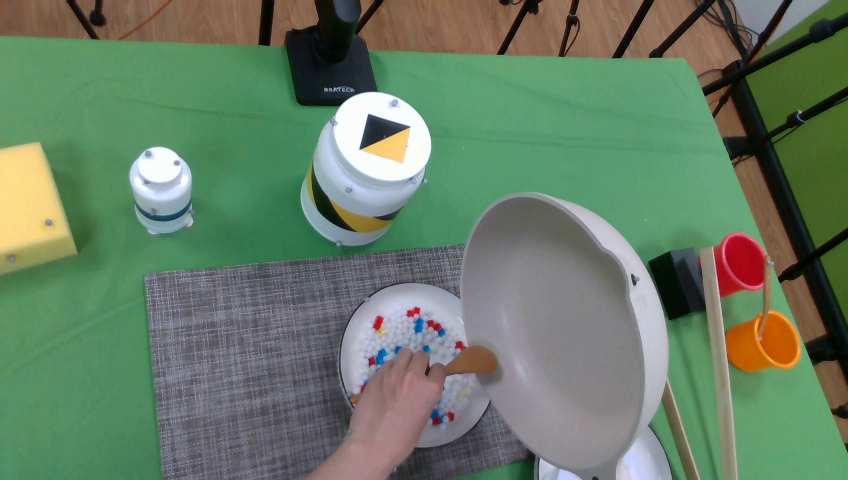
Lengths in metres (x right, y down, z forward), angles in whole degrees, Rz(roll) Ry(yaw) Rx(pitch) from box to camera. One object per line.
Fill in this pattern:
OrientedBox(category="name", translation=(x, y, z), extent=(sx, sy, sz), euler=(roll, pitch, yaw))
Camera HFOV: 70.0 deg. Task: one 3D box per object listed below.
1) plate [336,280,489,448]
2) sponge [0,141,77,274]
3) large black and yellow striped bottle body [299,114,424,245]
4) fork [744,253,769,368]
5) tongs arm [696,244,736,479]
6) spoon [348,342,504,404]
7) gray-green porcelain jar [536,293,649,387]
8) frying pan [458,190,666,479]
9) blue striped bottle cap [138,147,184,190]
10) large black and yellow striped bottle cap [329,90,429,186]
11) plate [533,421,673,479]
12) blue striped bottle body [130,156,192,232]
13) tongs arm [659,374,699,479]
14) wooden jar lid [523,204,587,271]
OrientedBox(category="plate", translation=(-0.011, 0.154, 0.764), extent=(0.210, 0.038, 0.207), euler=(8, 67, -18))
OrientedBox(category="sponge", translation=(-0.495, -0.017, 0.631), extent=(0.207, 0.061, 0.117), euler=(-20, 78, -28))
OrientedBox(category="large black and yellow striped bottle body", translation=(-0.078, -0.084, 0.754), extent=(0.131, 0.184, 0.130), euler=(8, 66, -18))
OrientedBox(category="fork", translation=(0.513, 0.111, 0.929), extent=(0.028, 0.018, 0.209), euler=(-20, 122, -19))
OrientedBox(category="tongs arm", translation=(0.429, 0.196, 0.895), extent=(0.028, 0.027, 0.386), euler=(5, 78, -27))
OrientedBox(category="spoon", translation=(0.007, 0.153, 0.682), extent=(0.194, 0.022, 0.041), euler=(-15, 55, -22))
OrientedBox(category="gray-green porcelain jar", translation=(0.219, 0.139, 0.815), extent=(0.106, 0.127, 0.105), euler=(8, 67, -18))
OrientedBox(category="frying pan", translation=(0.162, 0.181, 0.605), extent=(0.103, 0.308, 0.483), euler=(-3, 64, -23))
OrientedBox(category="blue striped bottle cap", translation=(-0.281, -0.077, 0.647), extent=(0.045, 0.021, 0.044), euler=(8, 64, -16))
OrientedBox(category="large black and yellow striped bottle cap", translation=(-0.049, -0.116, 0.682), extent=(0.115, 0.019, 0.114), euler=(8, 68, -19))
OrientedBox(category="plate", translation=(0.234, 0.314, 0.803), extent=(0.209, 0.039, 0.206), euler=(8, 66, -18))
OrientedBox(category="blue striped bottle body", translation=(-0.298, -0.059, 0.692), extent=(0.063, 0.121, 0.062), euler=(8, 67, -18))
OrientedBox(category="tongs arm", translation=(0.351, 0.203, 0.861), extent=(0.051, 0.026, 0.383), euler=(-11, 84, -26))
OrientedBox(category="wooden jar lid", translation=(0.198, -0.003, 0.924), extent=(0.109, 0.021, 0.107), euler=(7, 68, -19))
